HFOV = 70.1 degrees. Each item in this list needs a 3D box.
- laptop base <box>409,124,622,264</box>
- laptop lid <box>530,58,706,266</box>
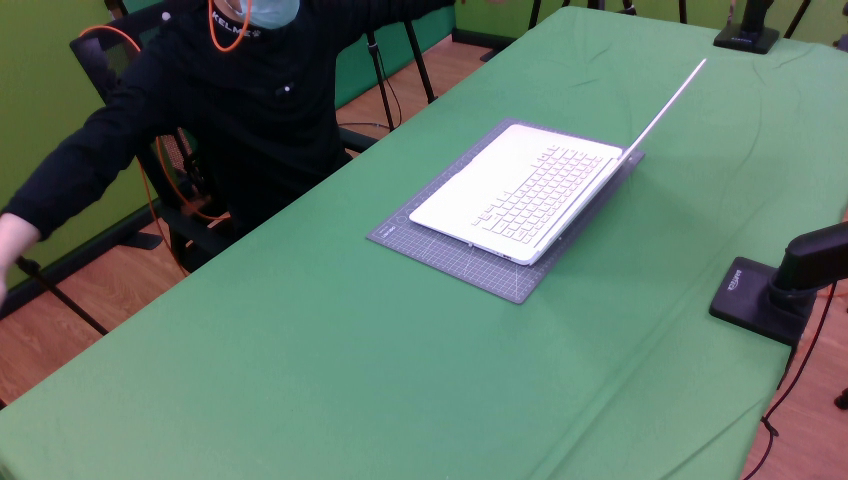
[{"bbox_3d":[0.168,-0.095,1.057,0.233,0.023,0.355,20,47,32],"label":"laptop base"},{"bbox_3d":[0.293,-0.118,0.905,0.013,0.241,0.357,40,53,9],"label":"laptop lid"}]
